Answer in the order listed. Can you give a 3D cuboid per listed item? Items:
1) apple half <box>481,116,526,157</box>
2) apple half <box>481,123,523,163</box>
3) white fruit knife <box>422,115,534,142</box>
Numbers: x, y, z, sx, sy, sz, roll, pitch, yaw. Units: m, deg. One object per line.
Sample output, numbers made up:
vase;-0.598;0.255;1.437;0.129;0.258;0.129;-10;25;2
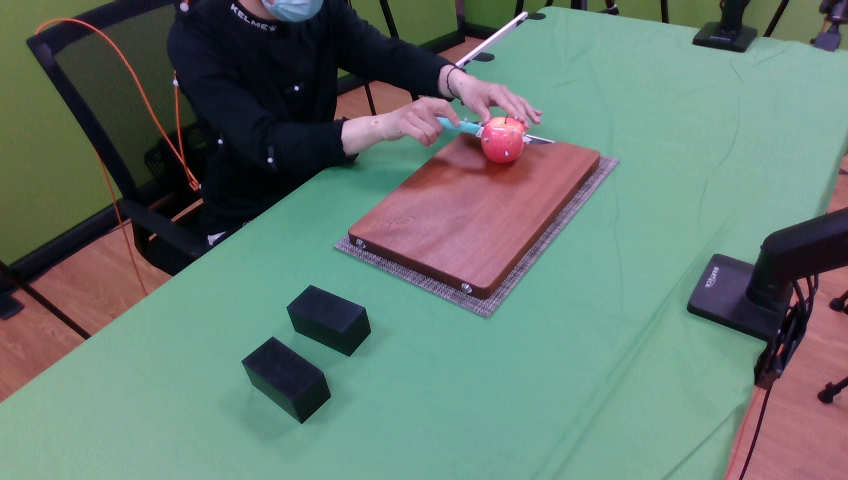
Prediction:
apple half;0.146;-0.187;1.081;0.080;0.075;0.053;7;37;21
apple half;0.132;-0.163;1.054;0.081;0.081;0.033;11;42;20
white fruit knife;0.092;-0.196;1.067;0.206;0.027;0.016;13;49;17
